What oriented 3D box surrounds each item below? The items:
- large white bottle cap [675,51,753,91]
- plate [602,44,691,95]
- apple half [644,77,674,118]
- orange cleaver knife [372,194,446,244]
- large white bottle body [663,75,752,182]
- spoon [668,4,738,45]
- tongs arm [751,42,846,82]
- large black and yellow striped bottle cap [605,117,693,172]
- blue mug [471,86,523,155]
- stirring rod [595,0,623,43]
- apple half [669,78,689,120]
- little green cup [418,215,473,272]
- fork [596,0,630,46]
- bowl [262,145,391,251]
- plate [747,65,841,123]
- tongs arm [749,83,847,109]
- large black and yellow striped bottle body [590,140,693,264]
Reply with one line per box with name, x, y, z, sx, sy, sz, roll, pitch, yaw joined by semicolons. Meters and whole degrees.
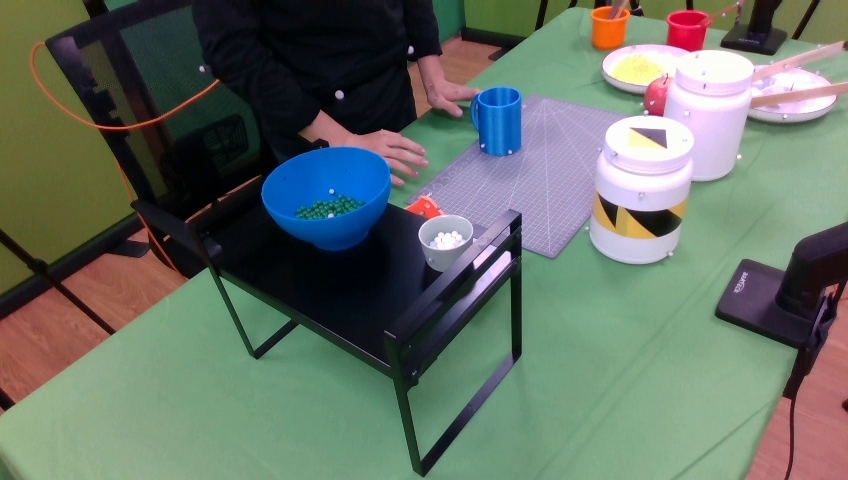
large white bottle cap;0.463;-0.271;0.967;0.115;0.018;0.114;-4;40;3
plate;0.494;-0.367;1.317;0.209;0.038;0.208;-4;40;4
apple half;0.463;-0.279;1.194;0.053;0.075;0.081;8;46;24
orange cleaver knife;-0.032;-0.026;0.965;0.210;0.077;0.012;-9;29;51
large white bottle body;0.472;-0.207;1.022;0.130;0.185;0.130;-4;41;4
spoon;0.618;-0.478;1.346;0.042;0.193;0.021;-25;89;-20
tongs arm;0.708;-0.331;1.193;0.386;0.026;0.050;-18;45;-16
large black and yellow striped bottle cap;0.309;-0.134;0.833;0.115;0.019;0.114;-5;40;5
blue mug;0.135;-0.235;1.163;0.082;0.106;0.115;-36;48;-29
stirring rod;0.460;-0.556;1.460;0.014;0.006;0.176;30;93;23
apple half;0.498;-0.273;1.180;0.032;0.082;0.081;7;42;25
little green cup;0.026;0.005;0.678;0.061;0.039;0.061;-4;40;4
fork;0.481;-0.556;1.453;0.028;0.019;0.207;40;103;40
bowl;-0.108;-0.041;0.723;0.151;0.077;0.150;-4;40;4
plate;0.694;-0.282;1.189;0.207;0.039;0.206;-4;40;4
tongs arm;0.734;-0.280;1.134;0.388;0.028;0.028;-9;47;-5
large black and yellow striped bottle body;0.317;-0.071;0.889;0.131;0.185;0.130;-4;41;4
